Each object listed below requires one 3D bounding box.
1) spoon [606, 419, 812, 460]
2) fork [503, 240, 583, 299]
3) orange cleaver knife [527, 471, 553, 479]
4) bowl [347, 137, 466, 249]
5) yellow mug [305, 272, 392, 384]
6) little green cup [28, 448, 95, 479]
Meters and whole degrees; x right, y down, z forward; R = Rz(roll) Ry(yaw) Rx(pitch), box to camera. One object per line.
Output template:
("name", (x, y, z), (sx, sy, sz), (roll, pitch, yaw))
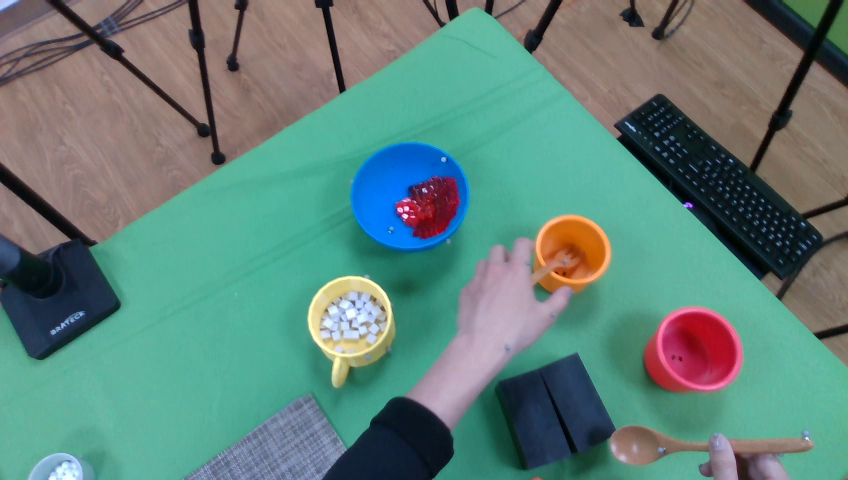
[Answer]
("spoon", (0.262, 0.192, 0.579), (0.022, 0.193, 0.041), (5, 74, -39))
("fork", (0.144, 0.032, 0.722), (0.028, 0.019, 0.208), (36, 29, 21))
("orange cleaver knife", (0.192, 0.345, 0.671), (0.210, 0.012, 0.077), (36, 68, 14))
("bowl", (-0.021, -0.050, 0.792), (0.151, 0.077, 0.150), (0, 70, 0))
("yellow mug", (-0.093, 0.110, 0.736), (0.100, 0.064, 0.130), (10, 70, 4))
("little green cup", (-0.410, 0.271, 0.691), (0.061, 0.039, 0.061), (0, 69, 1))
